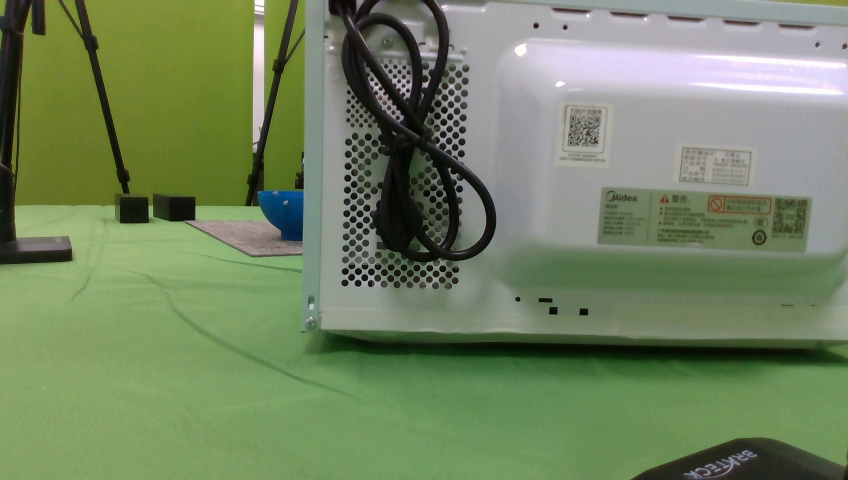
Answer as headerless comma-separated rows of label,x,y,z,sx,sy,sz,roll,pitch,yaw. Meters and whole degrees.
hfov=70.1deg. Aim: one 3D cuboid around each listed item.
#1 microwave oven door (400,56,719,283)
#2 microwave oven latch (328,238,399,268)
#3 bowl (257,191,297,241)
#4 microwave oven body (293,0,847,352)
microwave oven door,0.155,-0.077,0.697,0.356,0.243,0.039,2,8,-5
microwave oven latch,-0.069,0.015,0.694,0.079,0.029,0.030,3,7,-3
bowl,-0.206,-0.041,1.027,0.151,0.077,0.151,3,8,0
microwave oven body,0.122,-0.055,0.550,0.442,0.260,0.325,3,7,-5
